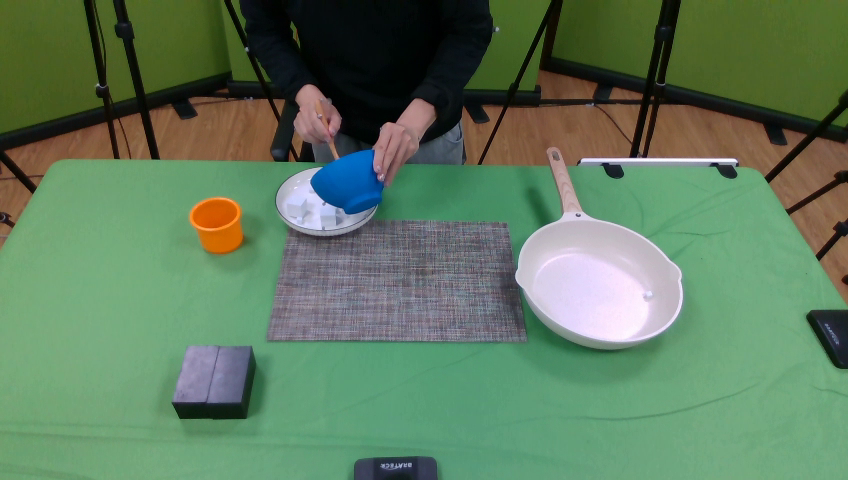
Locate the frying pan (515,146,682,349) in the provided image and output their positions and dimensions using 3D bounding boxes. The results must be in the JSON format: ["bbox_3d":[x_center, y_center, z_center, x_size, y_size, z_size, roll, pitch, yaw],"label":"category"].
[{"bbox_3d":[0.303,-0.004,1.168,0.307,0.103,0.484,-2,55,-7],"label":"frying pan"}]

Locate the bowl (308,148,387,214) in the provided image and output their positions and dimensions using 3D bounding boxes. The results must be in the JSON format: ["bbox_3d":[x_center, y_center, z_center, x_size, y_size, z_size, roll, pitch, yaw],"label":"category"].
[{"bbox_3d":[-0.128,-0.098,1.109,0.151,0.151,0.076,-19,79,-21],"label":"bowl"}]

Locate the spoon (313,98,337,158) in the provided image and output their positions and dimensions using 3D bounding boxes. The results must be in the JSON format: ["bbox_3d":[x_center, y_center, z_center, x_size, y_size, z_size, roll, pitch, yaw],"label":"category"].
[{"bbox_3d":[-0.169,-0.166,1.120,0.041,0.194,0.021,-25,12,-22],"label":"spoon"}]

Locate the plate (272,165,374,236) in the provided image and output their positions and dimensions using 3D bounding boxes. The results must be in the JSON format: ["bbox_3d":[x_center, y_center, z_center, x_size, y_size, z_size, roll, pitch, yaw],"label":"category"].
[{"bbox_3d":[-0.204,-0.076,1.240,0.208,0.039,0.206,3,44,-2],"label":"plate"}]
